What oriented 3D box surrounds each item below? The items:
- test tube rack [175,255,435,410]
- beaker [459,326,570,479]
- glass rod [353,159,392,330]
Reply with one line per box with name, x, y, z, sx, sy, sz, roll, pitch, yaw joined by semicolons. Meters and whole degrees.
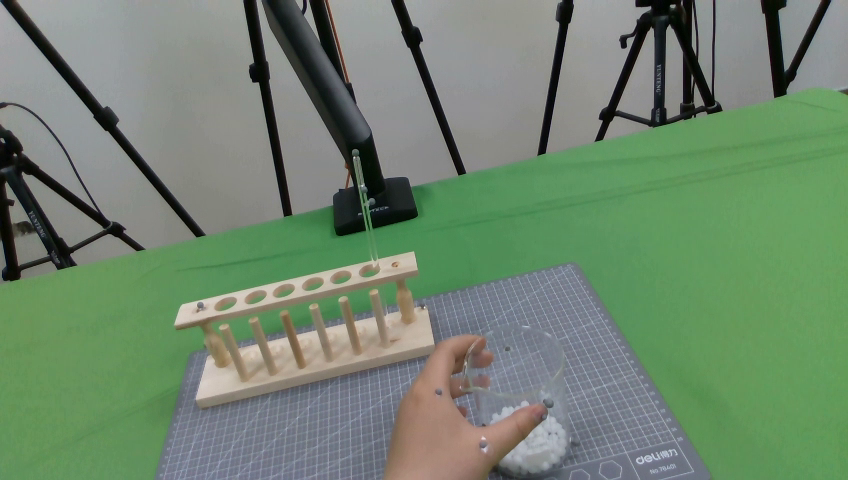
test tube rack;-0.118;0.093;0.613;0.242;0.086;0.066;-13;32;0
beaker;0.073;0.131;0.472;0.084;0.101;0.073;-22;33;-13
glass rod;-0.049;0.012;0.589;0.008;0.201;0.008;-6;33;4
